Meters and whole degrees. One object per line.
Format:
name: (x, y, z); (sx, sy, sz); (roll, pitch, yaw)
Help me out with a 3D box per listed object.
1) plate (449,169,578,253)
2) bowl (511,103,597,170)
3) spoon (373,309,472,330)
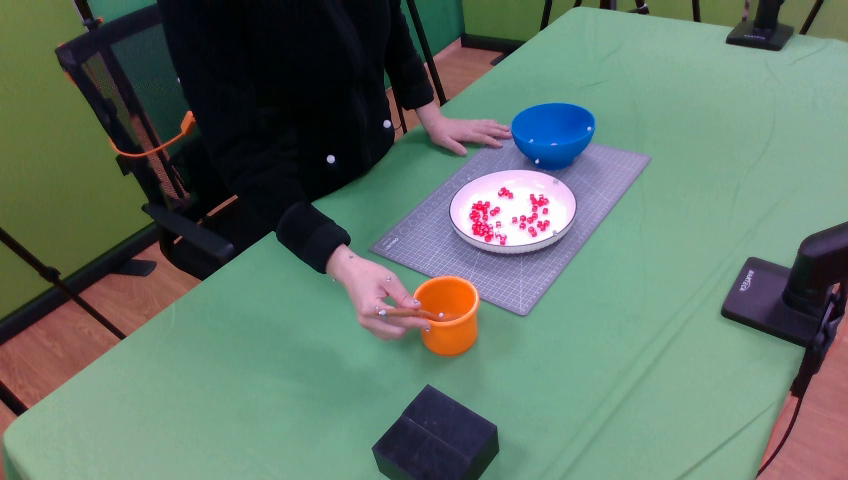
plate: (0.146, -0.044, 0.994); (0.209, 0.038, 0.208); (-5, 40, 5)
bowl: (0.237, -0.181, 1.107); (0.151, 0.077, 0.150); (-6, 40, 5)
spoon: (0.000, 0.097, 0.769); (0.041, 0.195, 0.021); (10, 84, 39)
